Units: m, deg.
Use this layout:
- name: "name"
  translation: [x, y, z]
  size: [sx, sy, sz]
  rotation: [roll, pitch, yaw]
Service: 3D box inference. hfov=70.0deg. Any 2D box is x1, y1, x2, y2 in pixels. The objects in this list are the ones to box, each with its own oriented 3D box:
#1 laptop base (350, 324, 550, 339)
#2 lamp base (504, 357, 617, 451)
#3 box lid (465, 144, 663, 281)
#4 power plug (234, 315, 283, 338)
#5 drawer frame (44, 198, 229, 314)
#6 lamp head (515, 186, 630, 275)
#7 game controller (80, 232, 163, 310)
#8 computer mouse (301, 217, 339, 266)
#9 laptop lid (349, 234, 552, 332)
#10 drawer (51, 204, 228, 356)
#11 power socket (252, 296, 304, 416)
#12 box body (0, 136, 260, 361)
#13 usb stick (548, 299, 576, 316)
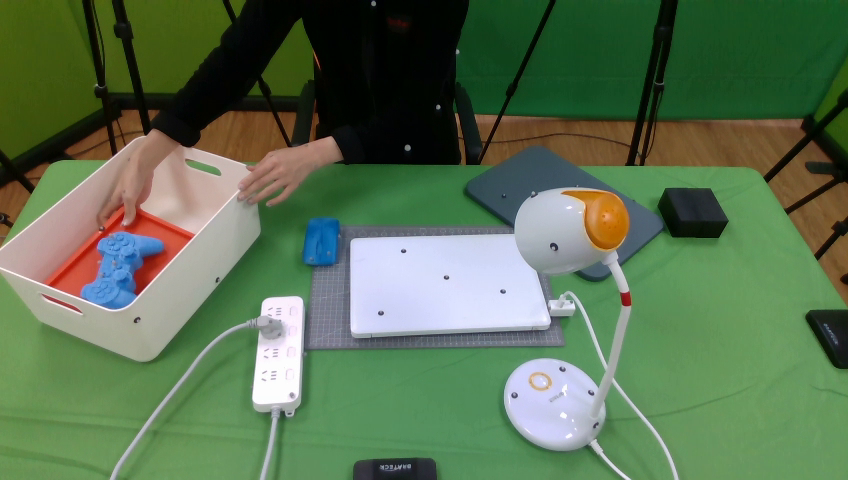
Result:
- name: "laptop base"
  translation: [0.039, 0.081, 1.124]
  size: [0.355, 0.023, 0.234]
  rotation: [-2, 43, -6]
- name: "lamp base"
  translation: [0.220, 0.211, 0.902]
  size: [0.160, 0.181, 0.178]
  rotation: [-32, 59, -30]
- name: "box lid"
  translation: [0.297, -0.072, 1.298]
  size: [0.263, 0.015, 0.369]
  rotation: [-33, 56, -31]
- name: "power plug"
  translation: [-0.270, 0.143, 1.000]
  size: [0.072, 0.053, 0.035]
  rotation: [4, 47, 2]
- name: "drawer frame"
  translation: [-0.481, 0.057, 1.032]
  size: [0.201, 0.083, 0.213]
  rotation: [21, 58, 10]
- name: "lamp head"
  translation: [0.188, -0.013, 0.728]
  size: [0.112, 0.112, 0.122]
  rotation: [-25, 9, -25]
- name: "game controller"
  translation: [-0.486, 0.050, 0.977]
  size: [0.097, 0.052, 0.154]
  rotation: [2, 51, -7]
- name: "computer mouse"
  translation: [-0.200, -0.001, 1.169]
  size: [0.063, 0.041, 0.116]
  rotation: [3, 50, -3]
- name: "laptop lid"
  translation: [0.040, 0.071, 1.118]
  size: [0.357, 0.013, 0.240]
  rotation: [0, 44, -5]
- name: "drawer"
  translation: [-0.484, 0.066, 1.050]
  size: [0.194, 0.073, 0.211]
  rotation: [24, 61, 5]
- name: "power socket"
  translation: [-0.238, 0.182, 0.997]
  size: [0.072, 0.033, 0.225]
  rotation: [-3, 47, -5]
- name: "box body"
  translation: [-0.483, 0.006, 1.056]
  size: [0.254, 0.161, 0.362]
  rotation: [17, 47, 12]
- name: "usb stick"
  translation: [0.239, 0.121, 1.083]
  size: [0.059, 0.027, 0.021]
  rotation: [-1, 50, -2]
